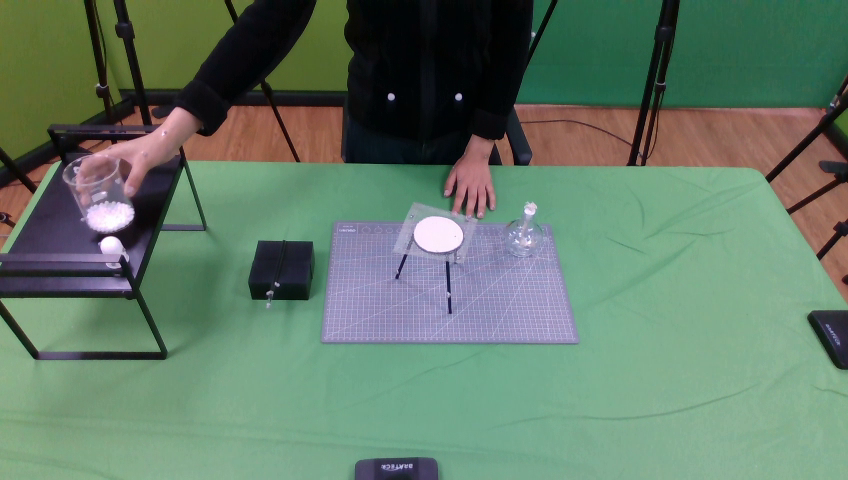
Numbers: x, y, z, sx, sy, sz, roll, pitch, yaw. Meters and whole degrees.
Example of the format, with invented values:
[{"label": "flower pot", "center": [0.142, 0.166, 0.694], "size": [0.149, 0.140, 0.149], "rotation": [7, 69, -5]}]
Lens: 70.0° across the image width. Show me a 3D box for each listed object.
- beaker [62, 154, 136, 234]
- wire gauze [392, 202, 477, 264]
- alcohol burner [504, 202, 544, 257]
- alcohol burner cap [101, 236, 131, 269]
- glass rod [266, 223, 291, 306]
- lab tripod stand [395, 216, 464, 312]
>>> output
[{"label": "beaker", "center": [-0.474, -0.067, 0.899], "size": [0.073, 0.101, 0.084], "rotation": [27, 48, 22]}, {"label": "wire gauze", "center": [0.021, -0.011, 1.037], "size": [0.121, 0.011, 0.124], "rotation": [14, 47, 8]}, {"label": "alcohol burner", "center": [0.195, -0.025, 1.170], "size": [0.078, 0.120, 0.077], "rotation": [2, 44, -2]}, {"label": "alcohol burner cap", "center": [-0.451, 0.016, 0.883], "size": [0.034, 0.048, 0.033], "rotation": [1, 47, -1]}, {"label": "glass rod", "center": [-0.259, 0.039, 1.083], "size": [0.008, 0.008, 0.198], "rotation": [3, 46, -1]}, {"label": "lab tripod stand", "center": [0.023, 0.036, 1.084], "size": [0.148, 0.132, 0.147], "rotation": [4, 46, -4]}]
